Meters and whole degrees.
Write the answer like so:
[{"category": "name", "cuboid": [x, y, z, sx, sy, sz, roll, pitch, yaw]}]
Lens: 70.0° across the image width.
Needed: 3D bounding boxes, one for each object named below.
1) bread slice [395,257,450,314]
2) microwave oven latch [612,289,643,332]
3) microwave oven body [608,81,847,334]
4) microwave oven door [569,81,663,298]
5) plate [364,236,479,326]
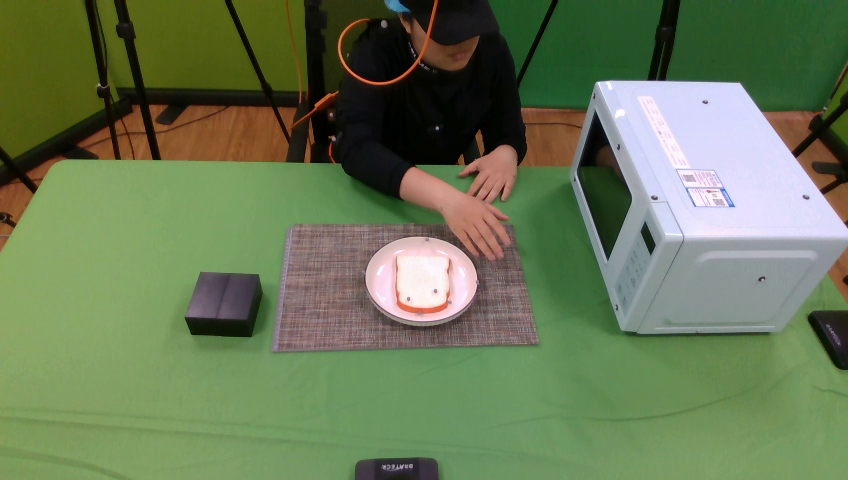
[{"category": "bread slice", "cuboid": [-0.001, 0.079, 1.109, 0.105, 0.019, 0.130, 1, 45, -2]}, {"category": "microwave oven latch", "cuboid": [0.357, 0.124, 1.068, 0.030, 0.029, 0.078, 0, 45, -3]}, {"category": "microwave oven body", "cuboid": [0.501, -0.070, 1.132, 0.326, 0.261, 0.438, -1, 45, -4]}, {"category": "microwave oven door", "cuboid": [0.353, -0.103, 1.147, 0.039, 0.245, 0.353, 0, 46, -4]}, {"category": "plate", "cuboid": [-0.005, 0.078, 1.107, 0.209, 0.038, 0.208, 2, 46, -2]}]
